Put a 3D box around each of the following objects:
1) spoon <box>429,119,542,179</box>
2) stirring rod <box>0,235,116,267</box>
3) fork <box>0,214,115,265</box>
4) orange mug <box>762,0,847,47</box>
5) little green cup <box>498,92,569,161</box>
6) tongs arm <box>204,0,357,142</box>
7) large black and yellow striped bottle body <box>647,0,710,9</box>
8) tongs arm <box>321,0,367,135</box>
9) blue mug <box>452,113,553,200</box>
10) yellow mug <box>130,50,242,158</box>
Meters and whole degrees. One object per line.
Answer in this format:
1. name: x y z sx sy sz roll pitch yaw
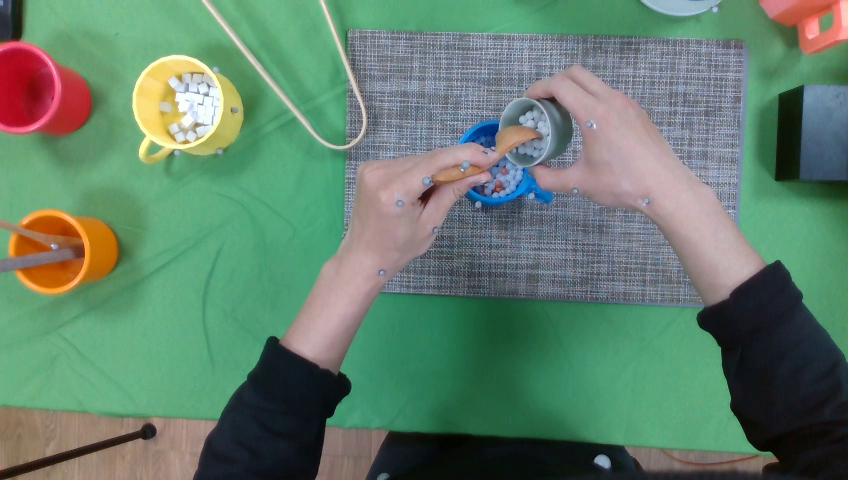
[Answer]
1. spoon: 0.052 -0.072 0.480 0.041 0.193 0.022 9 116 25
2. stirring rod: -0.429 0.017 0.655 0.177 0.006 0.014 -15 88 -39
3. fork: -0.437 -0.018 0.647 0.209 0.018 0.028 30 88 -43
4. orange mug: 0.417 -0.272 0.634 0.083 0.101 0.126 -7 89 3
5. little green cup: 0.100 -0.104 0.550 0.039 0.061 0.061 -14 93 -34
6. tongs arm: -0.209 -0.259 0.663 0.051 0.026 0.386 -36 99 0
7. large black and yellow striped bottle body: 0.281 -0.319 0.592 0.131 0.184 0.131 0 92 2
8. tongs arm: -0.137 -0.302 0.662 0.028 0.027 0.388 -23 99 -5
9. blue mug: 0.085 -0.078 0.647 0.116 0.106 0.082 30 93 0
10. yellow mug: -0.273 -0.142 0.677 0.100 0.064 0.131 41 95 -1
